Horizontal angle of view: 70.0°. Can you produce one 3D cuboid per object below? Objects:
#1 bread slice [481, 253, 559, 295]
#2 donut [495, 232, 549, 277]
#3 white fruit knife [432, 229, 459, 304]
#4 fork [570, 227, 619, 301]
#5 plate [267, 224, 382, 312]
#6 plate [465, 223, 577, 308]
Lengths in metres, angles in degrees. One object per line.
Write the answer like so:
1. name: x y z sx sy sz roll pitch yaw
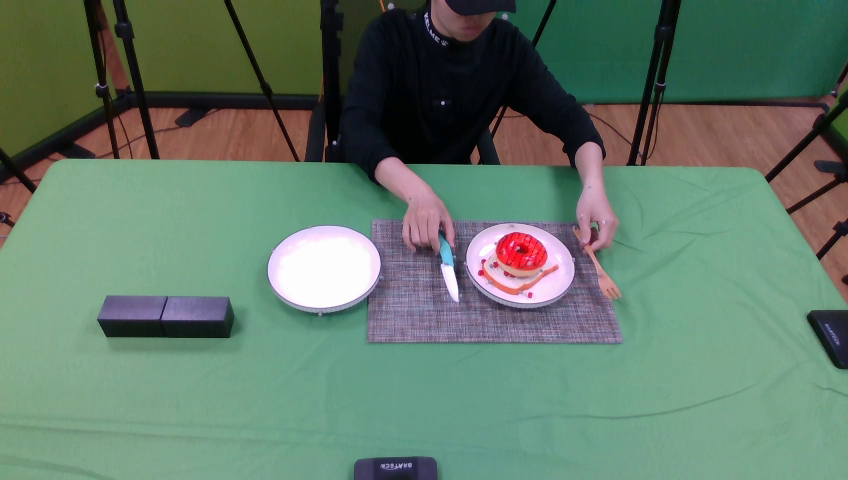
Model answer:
1. bread slice: 0.177 0.049 1.148 0.131 0.019 0.104 -32 55 -30
2. donut: 0.180 0.026 1.119 0.099 0.048 0.098 2 46 -2
3. white fruit knife: 0.042 0.046 1.121 0.027 0.016 0.206 -4 39 -6
4. fork: 0.318 0.041 1.148 0.028 0.019 0.206 13 39 -25
5. plate: -0.182 0.055 1.120 0.208 0.039 0.206 2 46 -2
6. plate: 0.180 0.051 1.144 0.209 0.038 0.208 2 45 -2
